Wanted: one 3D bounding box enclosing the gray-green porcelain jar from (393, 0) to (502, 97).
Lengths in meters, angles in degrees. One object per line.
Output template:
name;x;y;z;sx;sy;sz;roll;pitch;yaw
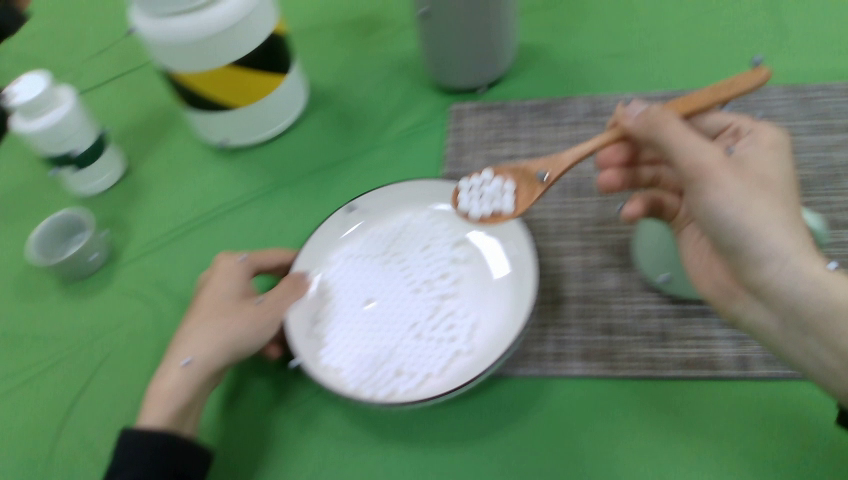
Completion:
gray-green porcelain jar;0.027;-0.221;0.625;0.106;0.128;0.105;-4;55;7

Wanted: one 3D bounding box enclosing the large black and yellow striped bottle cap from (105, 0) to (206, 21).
large black and yellow striped bottle cap;-0.229;-0.236;0.538;0.115;0.019;0.114;-4;54;6

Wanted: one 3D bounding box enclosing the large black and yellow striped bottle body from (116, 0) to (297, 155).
large black and yellow striped bottle body;-0.217;-0.190;0.607;0.130;0.186;0.129;-4;55;7

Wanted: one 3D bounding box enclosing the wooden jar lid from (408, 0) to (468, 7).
wooden jar lid;0.018;-0.258;0.575;0.108;0.021;0.107;-4;58;7

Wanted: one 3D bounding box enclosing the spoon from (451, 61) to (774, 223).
spoon;0.106;-0.058;0.352;0.193;0.022;0.041;-24;60;14

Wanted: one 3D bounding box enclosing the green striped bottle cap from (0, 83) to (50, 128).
green striped bottle cap;-0.375;-0.125;0.564;0.044;0.020;0.044;-3;56;4

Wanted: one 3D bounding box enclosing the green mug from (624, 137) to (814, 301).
green mug;0.219;-0.009;0.453;0.124;0.106;0.092;18;60;20

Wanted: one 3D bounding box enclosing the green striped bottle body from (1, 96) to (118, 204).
green striped bottle body;-0.368;-0.095;0.606;0.063;0.120;0.062;-5;54;7

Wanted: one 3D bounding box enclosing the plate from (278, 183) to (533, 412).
plate;-0.014;0.043;0.498;0.209;0.038;0.207;-6;54;9

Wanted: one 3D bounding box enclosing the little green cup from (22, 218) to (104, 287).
little green cup;-0.340;0.014;0.575;0.061;0.039;0.061;-5;53;7
